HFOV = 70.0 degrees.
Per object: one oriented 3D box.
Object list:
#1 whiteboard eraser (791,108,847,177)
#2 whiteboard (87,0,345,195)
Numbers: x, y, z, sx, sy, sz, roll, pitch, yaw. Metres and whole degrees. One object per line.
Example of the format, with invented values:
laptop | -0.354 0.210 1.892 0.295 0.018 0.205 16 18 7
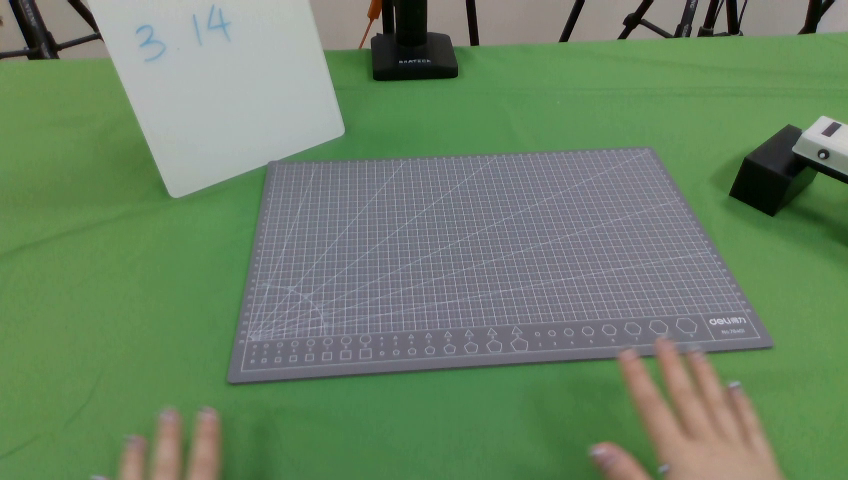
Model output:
whiteboard eraser | 0.425 -0.085 0.591 0.055 0.042 0.111 -33 53 -31
whiteboard | -0.249 -0.243 0.669 0.217 0.308 0.142 -28 31 -26
